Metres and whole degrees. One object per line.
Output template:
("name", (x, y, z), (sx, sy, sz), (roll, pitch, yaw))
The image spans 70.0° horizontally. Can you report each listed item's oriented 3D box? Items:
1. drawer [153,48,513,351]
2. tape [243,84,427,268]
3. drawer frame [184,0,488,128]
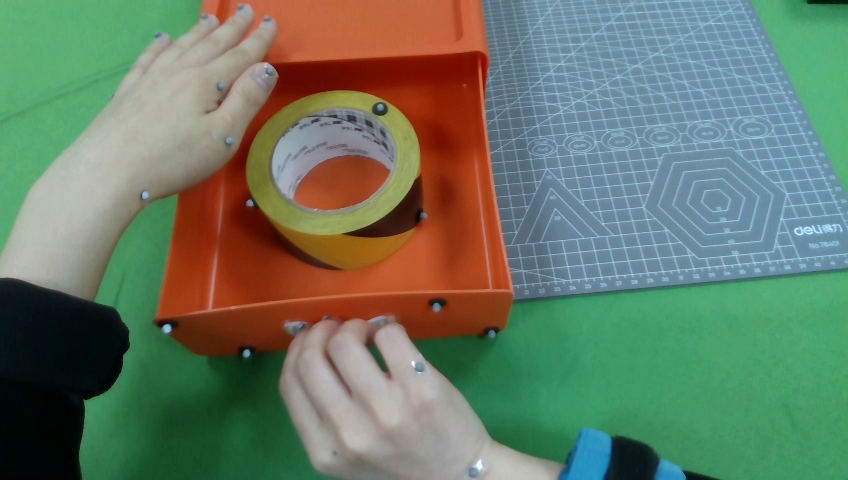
("drawer", (-0.054, -0.040, 0.396), (0.194, 0.074, 0.210), (-5, 62, 0))
("tape", (-0.056, -0.043, 0.404), (0.117, 0.053, 0.116), (-1, 64, 2))
("drawer frame", (-0.061, -0.189, 0.472), (0.202, 0.083, 0.211), (-4, 61, 1))
